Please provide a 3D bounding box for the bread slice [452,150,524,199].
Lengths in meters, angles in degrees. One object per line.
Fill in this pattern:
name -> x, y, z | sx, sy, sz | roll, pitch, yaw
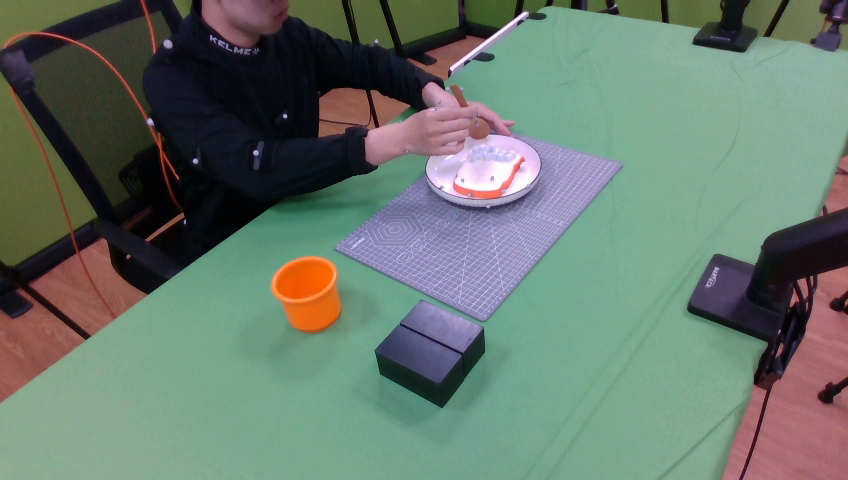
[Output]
bread slice -> 0.112, -0.118, 1.079 | 0.104, 0.019, 0.131 | 11, 42, 21

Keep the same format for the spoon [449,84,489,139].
spoon -> 0.076, -0.214, 1.019 | 0.041, 0.195, 0.021 | -17, 74, 13

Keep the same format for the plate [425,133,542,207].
plate -> 0.106, -0.121, 1.079 | 0.209, 0.038, 0.208 | -4, 41, 4
